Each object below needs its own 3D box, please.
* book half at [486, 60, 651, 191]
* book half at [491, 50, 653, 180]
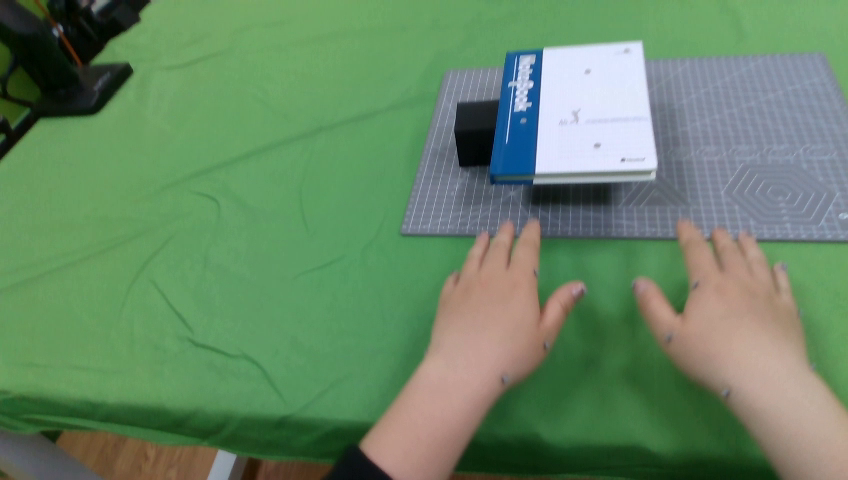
[{"bbox_3d":[0.146,-0.127,0.618,0.148,0.016,0.208,0,47,13],"label":"book half"},{"bbox_3d":[0.148,-0.132,0.612,0.143,0.007,0.208,0,47,13],"label":"book half"}]
